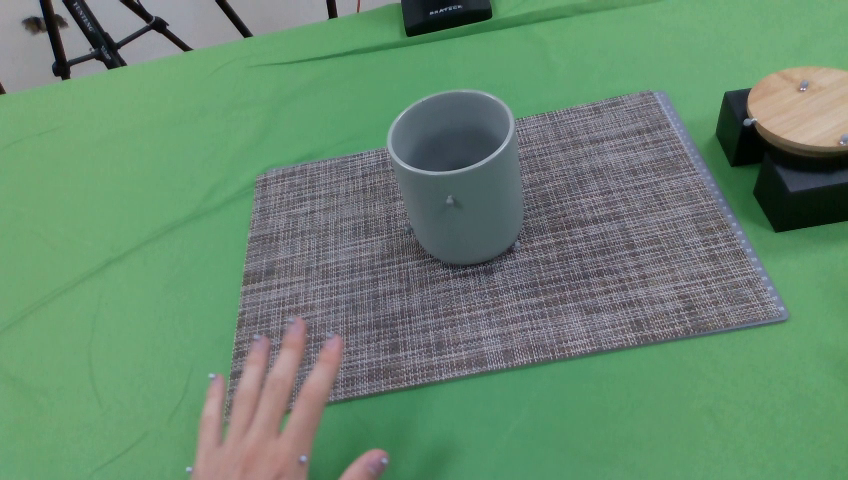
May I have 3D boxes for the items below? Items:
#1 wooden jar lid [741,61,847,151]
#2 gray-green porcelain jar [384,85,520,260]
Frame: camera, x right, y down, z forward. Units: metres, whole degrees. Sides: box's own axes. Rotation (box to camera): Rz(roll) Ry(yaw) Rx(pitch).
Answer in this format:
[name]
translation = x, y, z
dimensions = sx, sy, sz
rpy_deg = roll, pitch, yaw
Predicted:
[wooden jar lid]
translation = 0.330, -0.114, 0.519
dimensions = 0.108, 0.021, 0.107
rpy_deg = -7, 51, 9
[gray-green porcelain jar]
translation = 0.030, -0.052, 0.531
dimensions = 0.106, 0.128, 0.105
rpy_deg = -7, 49, 8
